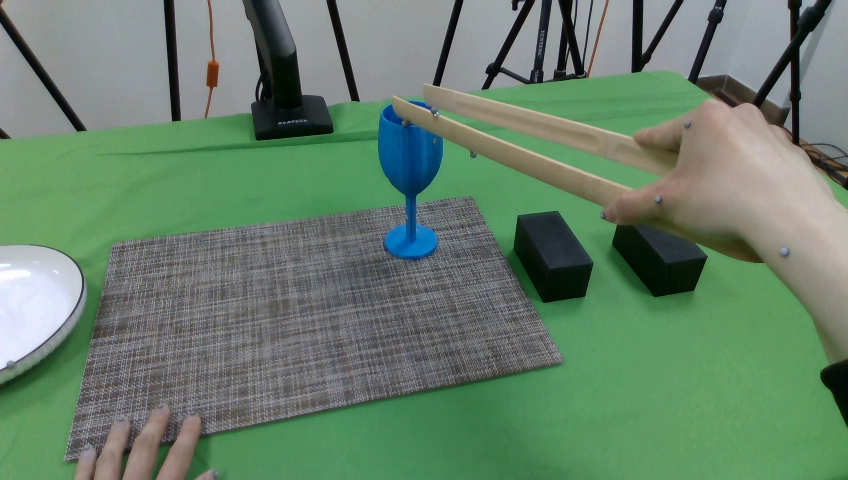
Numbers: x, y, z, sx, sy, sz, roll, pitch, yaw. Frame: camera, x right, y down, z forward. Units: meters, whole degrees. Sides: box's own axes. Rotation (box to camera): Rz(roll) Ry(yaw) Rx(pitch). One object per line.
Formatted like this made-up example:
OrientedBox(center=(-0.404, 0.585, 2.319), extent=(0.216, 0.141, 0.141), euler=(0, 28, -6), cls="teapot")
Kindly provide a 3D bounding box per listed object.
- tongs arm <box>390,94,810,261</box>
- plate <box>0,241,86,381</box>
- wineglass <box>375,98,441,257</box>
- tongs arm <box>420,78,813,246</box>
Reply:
OrientedBox(center=(0.101, -0.070, 0.492), extent=(0.051, 0.027, 0.380), euler=(-31, 42, -24), cls="tongs arm")
OrientedBox(center=(-0.446, 0.078, 0.601), extent=(0.209, 0.038, 0.207), euler=(1, 39, 0), cls="plate")
OrientedBox(center=(-0.018, -0.067, 0.683), extent=(0.074, 0.174, 0.073), euler=(1, 39, 0), cls="wineglass")
OrientedBox(center=(0.121, -0.084, 0.504), extent=(0.028, 0.028, 0.383), euler=(-31, 41, -29), cls="tongs arm")
